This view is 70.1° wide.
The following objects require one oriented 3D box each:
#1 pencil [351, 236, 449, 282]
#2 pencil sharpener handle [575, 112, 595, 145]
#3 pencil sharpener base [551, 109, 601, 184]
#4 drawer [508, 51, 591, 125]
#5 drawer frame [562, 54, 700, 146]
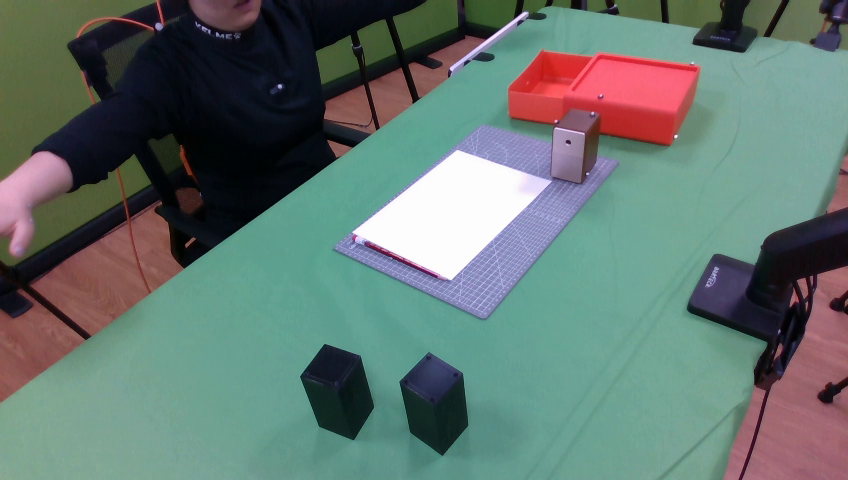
[{"bbox_3d":[-0.041,0.029,0.946,0.192,0.012,0.012,23,49,29],"label":"pencil"},{"bbox_3d":[0.290,-0.203,1.077,0.036,0.068,0.031,20,47,25],"label":"pencil sharpener handle"},{"bbox_3d":[0.265,-0.164,1.053,0.061,0.107,0.077,17,46,27],"label":"pencil sharpener base"},{"bbox_3d":[0.304,-0.309,1.246,0.210,0.073,0.195,16,45,25],"label":"drawer"},{"bbox_3d":[0.406,-0.282,1.195,0.212,0.083,0.202,17,45,25],"label":"drawer frame"}]
